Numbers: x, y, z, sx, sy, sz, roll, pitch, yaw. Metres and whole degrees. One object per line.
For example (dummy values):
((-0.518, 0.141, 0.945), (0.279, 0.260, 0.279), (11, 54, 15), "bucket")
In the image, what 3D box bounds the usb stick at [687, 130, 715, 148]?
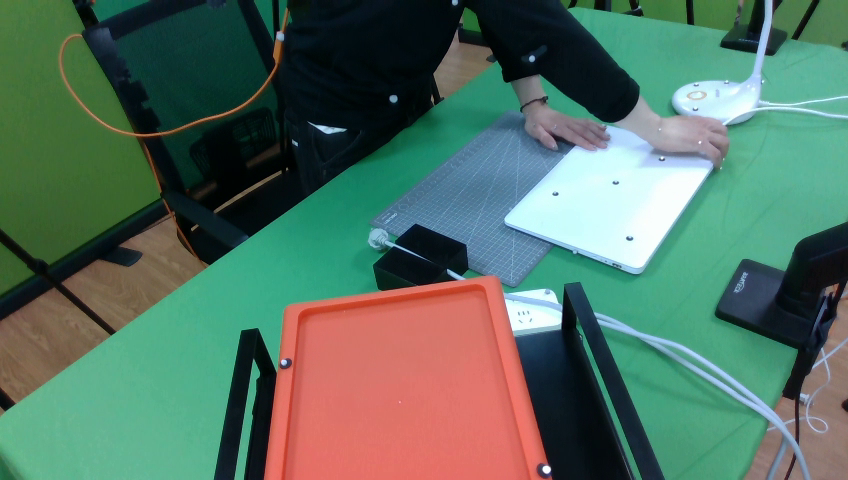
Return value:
((0.499, -0.178, 1.103), (0.059, 0.027, 0.021), (-25, 50, -15), "usb stick")

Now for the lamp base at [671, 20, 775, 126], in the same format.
((0.581, -0.332, 1.153), (0.179, 0.181, 0.160), (2, 42, 7), "lamp base")

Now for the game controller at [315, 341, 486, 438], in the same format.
((-0.021, 0.120, 0.534), (0.155, 0.052, 0.096), (-3, 38, 0), "game controller")

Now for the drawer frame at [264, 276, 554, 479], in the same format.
((-0.016, 0.137, 0.490), (0.202, 0.083, 0.212), (-8, 41, -2), "drawer frame")

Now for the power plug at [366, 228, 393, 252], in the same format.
((-0.067, 0.010, 0.955), (0.035, 0.053, 0.072), (-35, 51, 2), "power plug")

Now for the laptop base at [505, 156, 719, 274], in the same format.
((0.326, -0.083, 1.028), (0.233, 0.023, 0.355), (21, 48, 32), "laptop base")

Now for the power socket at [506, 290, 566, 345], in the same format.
((0.081, 0.112, 0.822), (0.227, 0.033, 0.072), (-7, 40, 0), "power socket")

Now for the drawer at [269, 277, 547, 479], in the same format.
((-0.018, 0.137, 0.493), (0.195, 0.073, 0.210), (-7, 41, -1), "drawer")

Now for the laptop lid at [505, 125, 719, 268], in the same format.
((0.323, -0.093, 1.021), (0.239, 0.013, 0.358), (23, 49, 33), "laptop lid")
